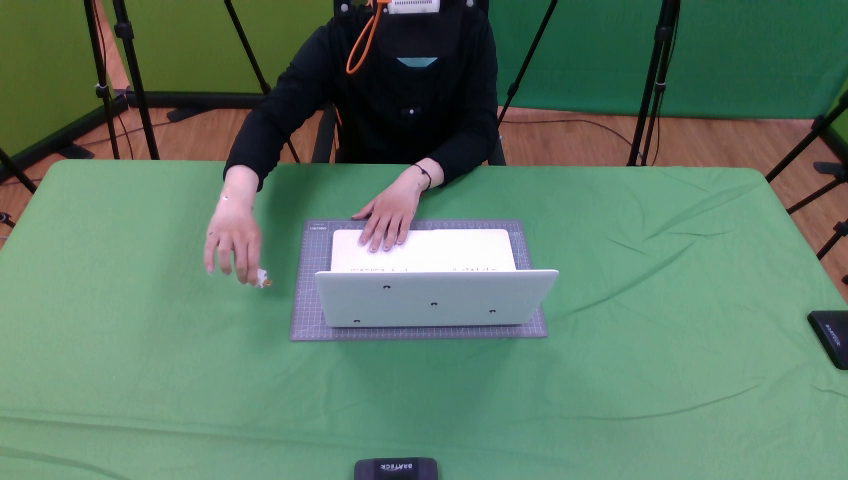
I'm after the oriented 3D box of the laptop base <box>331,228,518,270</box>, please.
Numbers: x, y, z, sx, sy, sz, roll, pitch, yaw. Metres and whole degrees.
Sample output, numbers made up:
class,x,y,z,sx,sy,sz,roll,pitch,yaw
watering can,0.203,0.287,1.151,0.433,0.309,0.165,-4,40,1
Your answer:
class,x,y,z,sx,sy,sz,roll,pitch,yaw
laptop base,0.003,0.063,1.135,0.355,0.023,0.234,-1,42,-4

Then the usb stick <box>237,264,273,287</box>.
class,x,y,z,sx,sy,sz,roll,pitch,yaw
usb stick,-0.287,0.063,1.035,0.059,0.027,0.021,15,42,0

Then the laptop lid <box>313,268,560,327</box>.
class,x,y,z,sx,sy,sz,roll,pitch,yaw
laptop lid,0.015,0.095,0.949,0.357,0.242,0.013,0,64,-5
